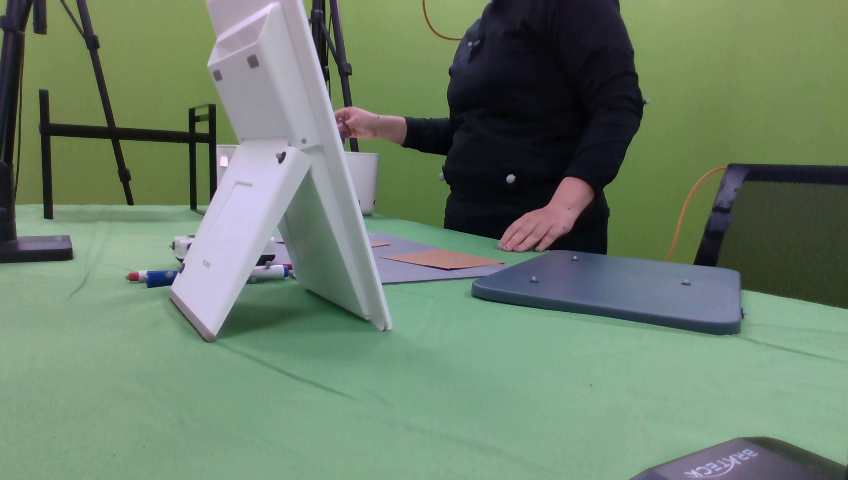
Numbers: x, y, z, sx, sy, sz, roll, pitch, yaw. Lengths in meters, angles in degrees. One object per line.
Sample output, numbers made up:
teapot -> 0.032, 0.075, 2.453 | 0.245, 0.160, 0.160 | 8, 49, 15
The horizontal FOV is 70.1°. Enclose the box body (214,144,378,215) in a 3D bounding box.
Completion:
box body -> -0.328, -0.154, 1.543 | 0.366, 0.160, 0.253 | -2, 9, -32

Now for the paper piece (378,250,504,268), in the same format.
paper piece -> 0.026, 0.026, 0.865 | 0.134, 0.004, 0.136 | 9, 8, 43

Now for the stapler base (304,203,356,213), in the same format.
stapler base -> -0.234, -0.080, 1.511 | 0.131, 0.024, 0.041 | -1, 12, -36

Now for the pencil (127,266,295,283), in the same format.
pencil -> -0.231, 0.037, 0.691 | 0.195, 0.012, 0.012 | -2, 9, -34

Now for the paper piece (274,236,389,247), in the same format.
paper piece -> -0.151, 0.003, 0.978 | 0.135, 0.008, 0.139 | 13, 10, 35

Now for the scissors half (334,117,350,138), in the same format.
scissors half -> -0.259, -0.309, 1.492 | 0.175, 0.040, 0.013 | 29, 36, -9

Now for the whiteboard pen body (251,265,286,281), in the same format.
whiteboard pen body -> -0.220, 0.039, 0.656 | 0.141, 0.017, 0.017 | -2, 9, -31

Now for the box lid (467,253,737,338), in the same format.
box lid -> 0.234, 0.054, 0.736 | 0.262, 0.015, 0.373 | 7, 8, 26

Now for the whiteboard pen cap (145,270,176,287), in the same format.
whiteboard pen cap -> -0.271, 0.039, 0.627 | 0.033, 0.018, 0.018 | -3, 10, -33

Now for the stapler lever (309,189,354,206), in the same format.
stapler lever -> -0.231, -0.105, 1.508 | 0.119, 0.040, 0.026 | 0, 12, -37

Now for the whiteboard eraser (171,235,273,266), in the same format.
whiteboard eraser -> -0.248, 0.014, 0.747 | 0.113, 0.042, 0.055 | -1, 9, -32

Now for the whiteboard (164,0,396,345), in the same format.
whiteboard -> -0.173, -0.053, 0.511 | 0.144, 0.305, 0.216 | -23, 19, -26

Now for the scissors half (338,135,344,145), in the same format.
scissors half -> -0.270, -0.296, 1.503 | 0.040, 0.175, 0.013 | -39, 18, 26
